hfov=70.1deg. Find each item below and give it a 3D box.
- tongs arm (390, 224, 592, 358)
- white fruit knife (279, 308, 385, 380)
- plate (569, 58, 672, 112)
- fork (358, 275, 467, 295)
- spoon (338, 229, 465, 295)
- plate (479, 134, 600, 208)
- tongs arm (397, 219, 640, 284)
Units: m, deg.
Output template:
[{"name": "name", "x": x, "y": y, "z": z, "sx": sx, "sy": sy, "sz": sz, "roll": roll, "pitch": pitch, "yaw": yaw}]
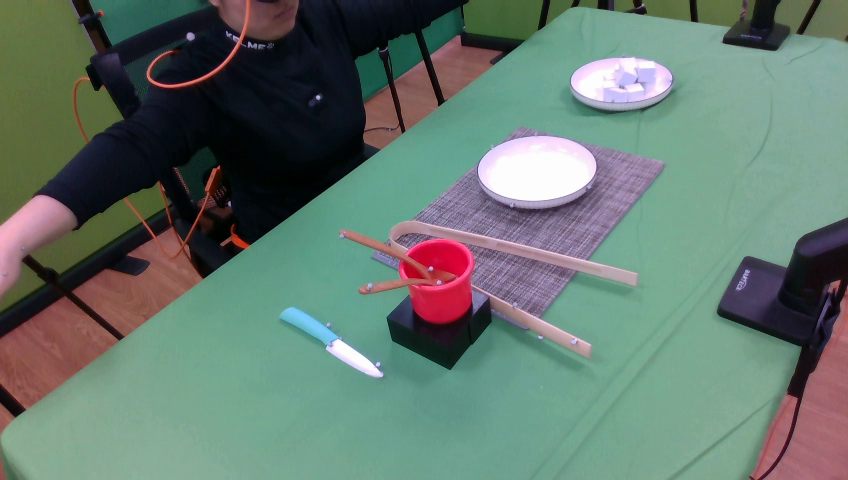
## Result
[{"name": "tongs arm", "x": 0.082, "y": 0.063, "z": 0.879, "sx": 0.381, "sy": 0.026, "sz": 0.051, "roll": 25, "pitch": 52, "yaw": 35}, {"name": "white fruit knife", "x": -0.130, "y": 0.143, "z": 0.845, "sx": 0.206, "sy": 0.016, "sz": 0.027, "roll": 25, "pitch": 79, "yaw": 32}, {"name": "plate", "x": 0.411, "y": -0.323, "z": 1.274, "sx": 0.209, "sy": 0.038, "sz": 0.208, "roll": -5, "pitch": 41, "yaw": 5}, {"name": "fork", "x": -0.009, "y": 0.056, "z": 0.739, "sx": 0.028, "sy": 0.018, "sz": 0.209, "roll": 48, "pitch": 23, "yaw": 26}, {"name": "spoon", "x": -0.025, "y": 0.026, "z": 0.776, "sx": 0.021, "sy": 0.195, "sz": 0.041, "roll": -41, "pitch": 34, "yaw": 31}, {"name": "plate", "x": 0.202, "y": -0.117, "z": 1.065, "sx": 0.207, "sy": 0.039, "sz": 0.206, "roll": -5, "pitch": 40, "yaw": 5}, {"name": "tongs arm", "x": 0.132, "y": 0.015, "z": 0.926, "sx": 0.385, "sy": 0.028, "sz": 0.028, "roll": 13, "pitch": 50, "yaw": 25}]
